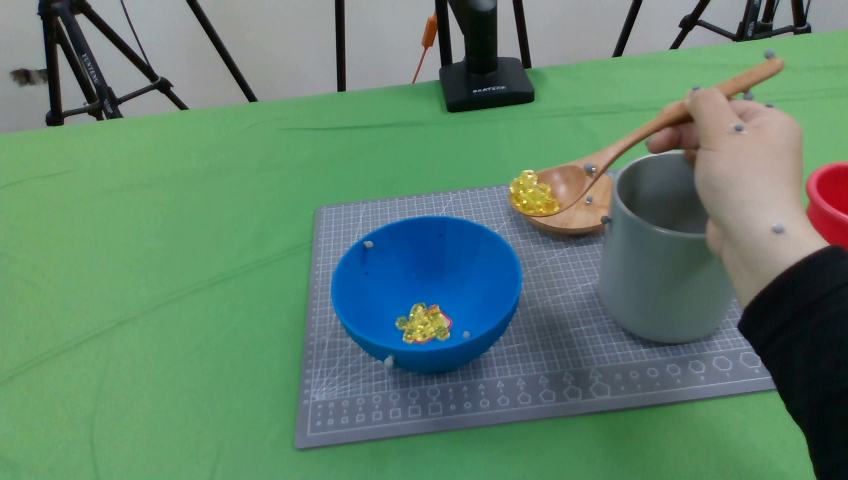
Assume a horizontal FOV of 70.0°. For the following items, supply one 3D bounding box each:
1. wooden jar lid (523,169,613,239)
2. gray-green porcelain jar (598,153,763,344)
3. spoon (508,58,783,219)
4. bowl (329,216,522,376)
[{"bbox_3d":[0.150,-0.038,0.629,0.108,0.021,0.107,-4,40,4],"label":"wooden jar lid"},{"bbox_3d":[0.196,0.012,0.484,0.106,0.128,0.105,-4,41,4],"label":"gray-green porcelain jar"},{"bbox_3d":[0.144,-0.067,0.399,0.194,0.022,0.041,-31,47,12],"label":"spoon"},{"bbox_3d":[0.004,0.057,0.494,0.151,0.077,0.150,-3,41,3],"label":"bowl"}]
